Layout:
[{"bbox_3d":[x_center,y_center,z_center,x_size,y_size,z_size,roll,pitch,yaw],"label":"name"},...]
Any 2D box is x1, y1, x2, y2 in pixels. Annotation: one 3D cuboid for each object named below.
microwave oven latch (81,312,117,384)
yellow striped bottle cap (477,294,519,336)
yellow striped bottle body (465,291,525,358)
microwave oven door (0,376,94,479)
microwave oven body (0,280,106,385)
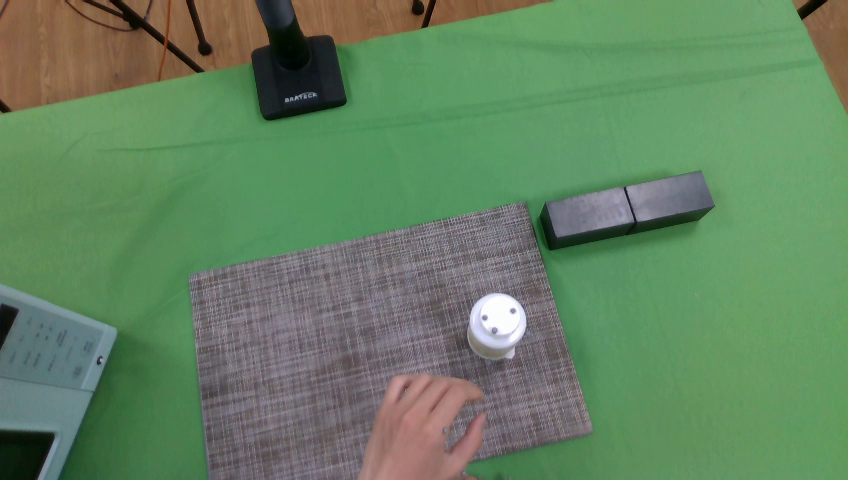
[{"bbox_3d":[-0.397,0.130,0.724,0.030,0.029,0.079,16,74,6],"label":"microwave oven latch"},{"bbox_3d":[0.079,0.080,0.647,0.044,0.019,0.044,0,75,1],"label":"yellow striped bottle cap"},{"bbox_3d":[0.080,0.097,0.696,0.063,0.121,0.062,0,71,2],"label":"yellow striped bottle body"},{"bbox_3d":[-0.458,0.299,0.564,0.039,0.245,0.354,14,73,6],"label":"microwave oven door"},{"bbox_3d":[-0.589,0.227,0.595,0.325,0.261,0.439,14,74,5],"label":"microwave oven body"}]
